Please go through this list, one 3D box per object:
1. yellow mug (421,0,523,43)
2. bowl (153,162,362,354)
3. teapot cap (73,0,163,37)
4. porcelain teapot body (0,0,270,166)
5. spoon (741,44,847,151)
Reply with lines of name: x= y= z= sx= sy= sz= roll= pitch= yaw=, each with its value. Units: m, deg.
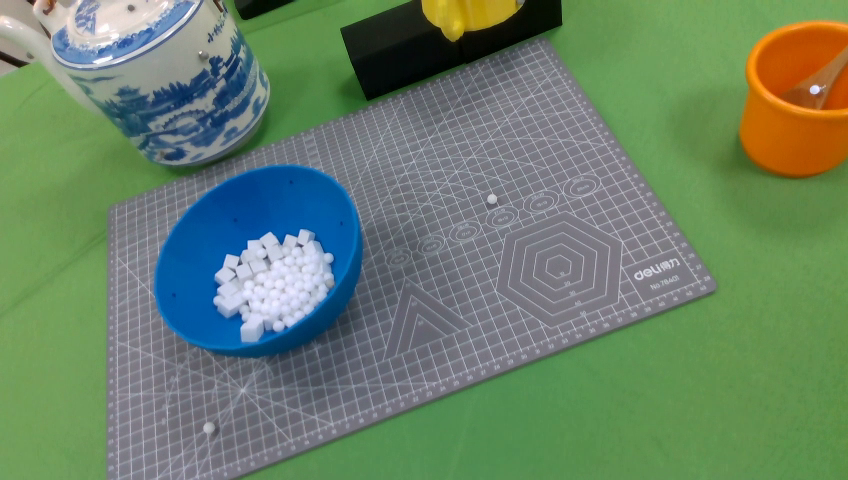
yellow mug: x=0.034 y=-0.229 z=0.524 sx=0.099 sy=0.064 sz=0.130 roll=9 pitch=62 yaw=20
bowl: x=-0.109 y=0.024 z=0.449 sx=0.151 sy=0.077 sz=0.150 roll=-7 pitch=56 yaw=10
teapot cap: x=-0.251 y=-0.199 z=0.497 sx=0.085 sy=0.044 sz=0.084 roll=-8 pitch=58 yaw=13
porcelain teapot body: x=-0.270 y=-0.174 z=0.534 sx=0.205 sy=0.227 sz=0.144 roll=-10 pitch=56 yaw=9
spoon: x=0.296 y=-0.134 z=0.406 sx=0.022 sy=0.194 sz=0.041 roll=8 pitch=45 yaw=-34
